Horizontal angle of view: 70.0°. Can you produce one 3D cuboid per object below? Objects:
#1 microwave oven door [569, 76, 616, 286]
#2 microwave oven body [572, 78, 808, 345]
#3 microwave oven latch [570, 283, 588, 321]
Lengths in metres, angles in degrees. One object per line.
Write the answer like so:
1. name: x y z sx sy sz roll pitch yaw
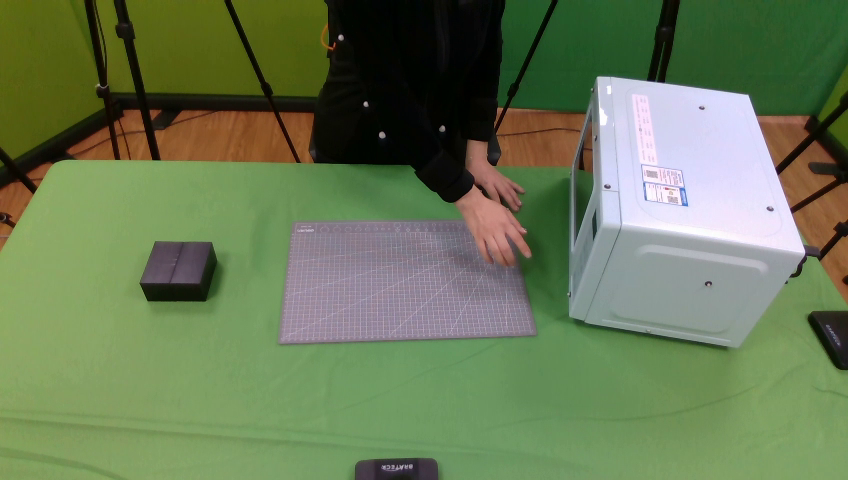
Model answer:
1. microwave oven door: 0.319 -0.119 1.161 0.039 0.245 0.354 9 46 5
2. microwave oven body: 0.456 -0.063 1.125 0.326 0.261 0.439 8 45 5
3. microwave oven latch: 0.276 0.105 1.082 0.030 0.029 0.079 10 45 6
